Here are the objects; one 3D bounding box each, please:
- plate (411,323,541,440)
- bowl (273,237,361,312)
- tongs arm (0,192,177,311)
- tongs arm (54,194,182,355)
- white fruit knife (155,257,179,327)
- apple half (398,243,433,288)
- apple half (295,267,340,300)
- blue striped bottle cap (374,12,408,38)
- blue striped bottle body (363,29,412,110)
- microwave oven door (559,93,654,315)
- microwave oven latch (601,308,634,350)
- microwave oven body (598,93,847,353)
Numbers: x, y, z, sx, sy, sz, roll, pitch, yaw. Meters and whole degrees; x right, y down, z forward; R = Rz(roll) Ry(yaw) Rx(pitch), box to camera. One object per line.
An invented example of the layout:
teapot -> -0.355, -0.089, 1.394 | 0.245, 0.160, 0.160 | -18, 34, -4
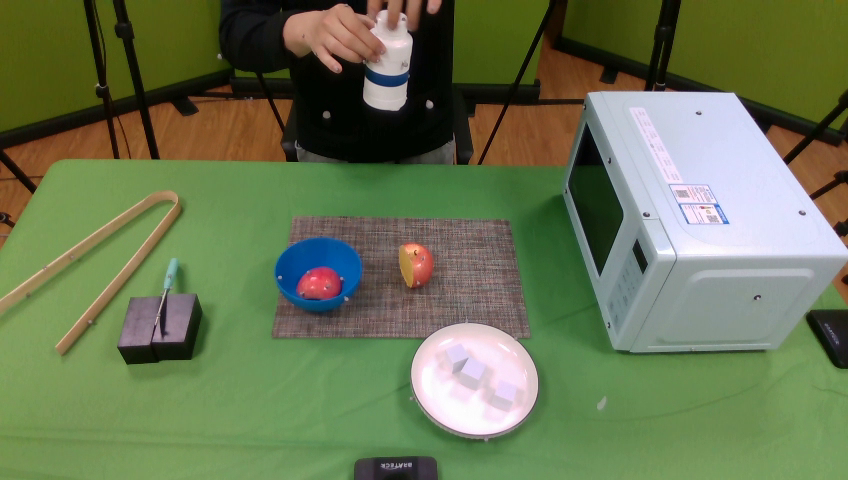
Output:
plate -> 0.082, 0.228, 0.976 | 0.208, 0.039, 0.206 | 2, 45, -2
bowl -> -0.186, 0.074, 1.069 | 0.151, 0.077, 0.150 | 3, 46, -3
tongs arm -> -0.618, 0.019, 1.124 | 0.050, 0.026, 0.384 | 24, 47, 16
tongs arm -> -0.543, 0.049, 1.108 | 0.028, 0.028, 0.385 | 12, 46, 9
white fruit knife -> -0.440, 0.085, 1.037 | 0.016, 0.027, 0.206 | 10, 26, -19
apple half -> -0.012, 0.046, 1.115 | 0.053, 0.075, 0.080 | -11, 44, -19
apple half -> -0.187, 0.070, 1.067 | 0.081, 0.033, 0.081 | 3, 47, -3
blue striped bottle cap -> -0.044, -0.288, 0.811 | 0.044, 0.021, 0.044 | 7, 38, -6
blue striped bottle body -> -0.051, -0.249, 0.847 | 0.063, 0.121, 0.062 | 6, 42, -5
microwave oven door -> 0.327, -0.074, 1.123 | 0.039, 0.245, 0.353 | -1, 46, -5
microwave oven latch -> 0.331, 0.153, 1.044 | 0.030, 0.029, 0.078 | -2, 45, -6
microwave oven body -> 0.475, -0.041, 1.109 | 0.326, 0.261, 0.438 | -1, 45, -4
